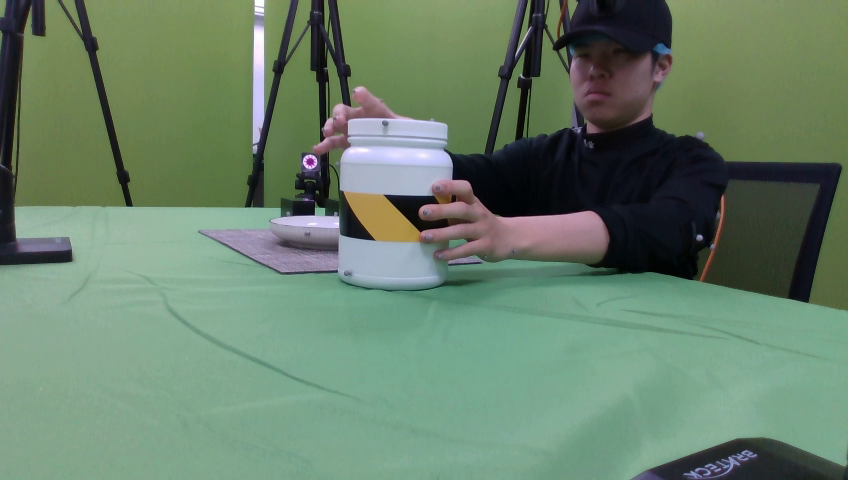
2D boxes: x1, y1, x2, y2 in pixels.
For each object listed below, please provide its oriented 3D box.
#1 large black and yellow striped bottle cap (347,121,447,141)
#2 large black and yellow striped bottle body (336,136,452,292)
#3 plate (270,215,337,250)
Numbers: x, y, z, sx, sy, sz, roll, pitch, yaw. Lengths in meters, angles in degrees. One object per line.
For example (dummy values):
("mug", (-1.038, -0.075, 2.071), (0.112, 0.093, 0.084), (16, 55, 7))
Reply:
("large black and yellow striped bottle cap", (-0.031, -0.124, 0.692), (0.115, 0.019, 0.115), (2, 9, 0))
("large black and yellow striped bottle body", (-0.035, -0.041, 0.703), (0.131, 0.184, 0.130), (3, 8, 0))
("plate", (-0.146, -0.013, 0.992), (0.208, 0.039, 0.207), (2, 7, 0))
